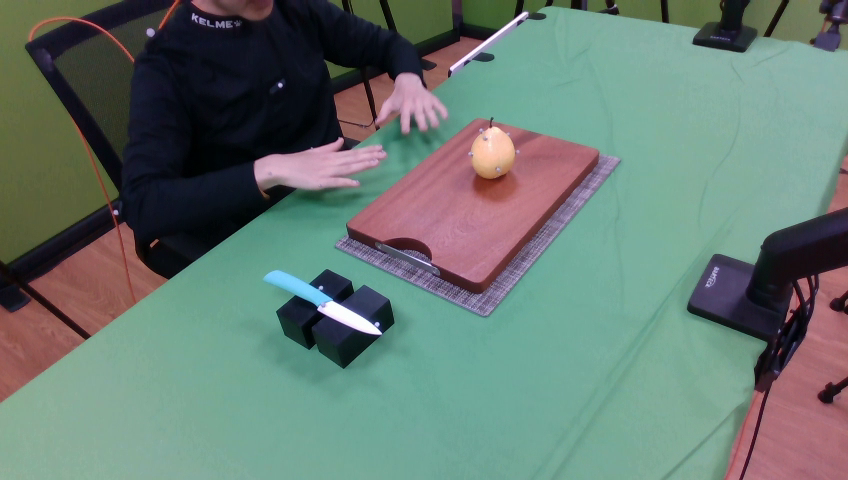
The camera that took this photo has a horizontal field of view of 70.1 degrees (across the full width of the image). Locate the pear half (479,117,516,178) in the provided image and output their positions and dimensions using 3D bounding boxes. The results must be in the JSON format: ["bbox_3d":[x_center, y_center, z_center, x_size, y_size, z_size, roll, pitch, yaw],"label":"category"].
[{"bbox_3d":[0.126,-0.166,1.031,0.056,0.110,0.075,-34,51,-29],"label":"pear half"}]

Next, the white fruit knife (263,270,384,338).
[{"bbox_3d":[-0.137,0.086,0.821,0.206,0.016,0.027,24,62,26],"label":"white fruit knife"}]

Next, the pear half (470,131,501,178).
[{"bbox_3d":[0.099,-0.141,1.022,0.031,0.088,0.070,-35,54,-30],"label":"pear half"}]
